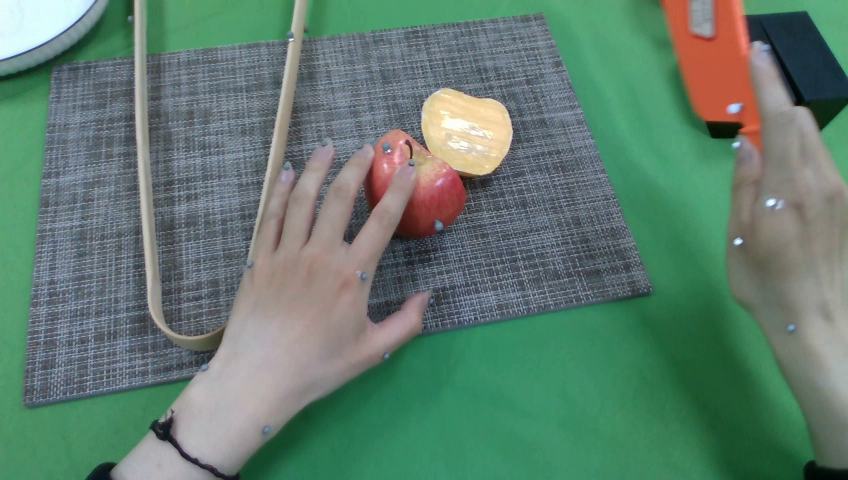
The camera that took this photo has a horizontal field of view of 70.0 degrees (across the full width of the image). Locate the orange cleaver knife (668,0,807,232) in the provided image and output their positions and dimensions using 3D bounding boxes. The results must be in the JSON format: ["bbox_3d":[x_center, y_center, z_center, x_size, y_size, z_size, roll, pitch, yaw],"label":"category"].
[{"bbox_3d":[0.197,-0.104,0.391,0.012,0.077,0.212,-25,103,-10],"label":"orange cleaver knife"}]

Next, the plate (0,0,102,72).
[{"bbox_3d":[-0.388,-0.221,0.540,0.209,0.038,0.207,2,63,-3],"label":"plate"}]

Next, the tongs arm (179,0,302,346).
[{"bbox_3d":[-0.139,-0.102,0.496,0.051,0.027,0.381,2,64,-4],"label":"tongs arm"}]

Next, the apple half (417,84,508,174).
[{"bbox_3d":[0.027,-0.086,0.499,0.081,0.033,0.081,4,75,-12],"label":"apple half"}]

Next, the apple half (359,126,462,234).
[{"bbox_3d":[-0.017,-0.036,0.448,0.080,0.075,0.053,39,70,12],"label":"apple half"}]

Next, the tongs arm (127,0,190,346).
[{"bbox_3d":[-0.223,-0.096,0.489,0.028,0.028,0.384,-10,64,-13],"label":"tongs arm"}]
